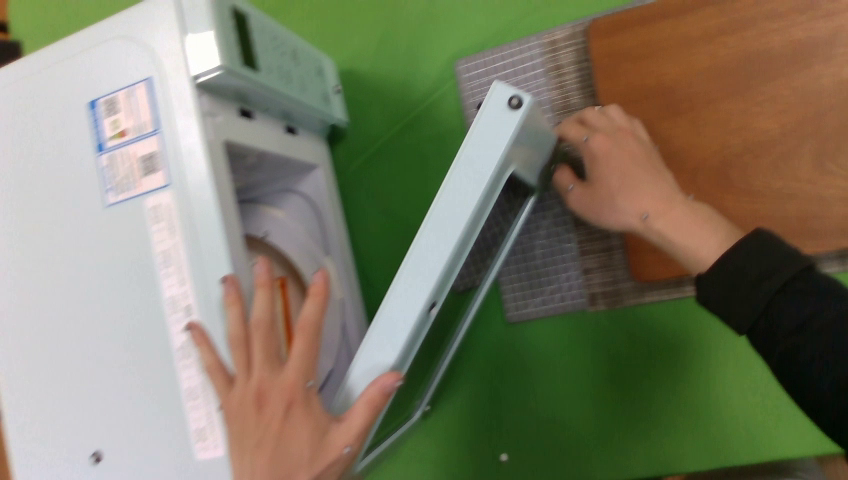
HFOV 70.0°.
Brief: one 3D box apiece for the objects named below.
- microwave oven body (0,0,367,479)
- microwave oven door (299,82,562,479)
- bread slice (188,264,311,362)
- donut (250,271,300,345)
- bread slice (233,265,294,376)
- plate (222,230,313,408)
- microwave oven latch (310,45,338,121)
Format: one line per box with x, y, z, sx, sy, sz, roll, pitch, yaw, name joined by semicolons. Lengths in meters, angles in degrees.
-0.245;0.031;0.633;0.325;0.261;0.441;-15;87;16;microwave oven body
0.016;0.049;0.549;0.039;0.244;0.356;29;99;16;microwave oven door
-0.203;0.091;0.696;0.131;0.019;0.105;-11;98;4;bread slice
-0.182;0.081;0.653;0.099;0.048;0.099;0;108;1;donut
-0.198;0.099;0.610;0.134;0.018;0.107;-30;88;27;bread slice
-0.217;0.092;0.677;0.207;0.039;0.207;0;91;13;plate
-0.123;-0.179;0.690;0.030;0.029;0.079;-15;88;16;microwave oven latch
